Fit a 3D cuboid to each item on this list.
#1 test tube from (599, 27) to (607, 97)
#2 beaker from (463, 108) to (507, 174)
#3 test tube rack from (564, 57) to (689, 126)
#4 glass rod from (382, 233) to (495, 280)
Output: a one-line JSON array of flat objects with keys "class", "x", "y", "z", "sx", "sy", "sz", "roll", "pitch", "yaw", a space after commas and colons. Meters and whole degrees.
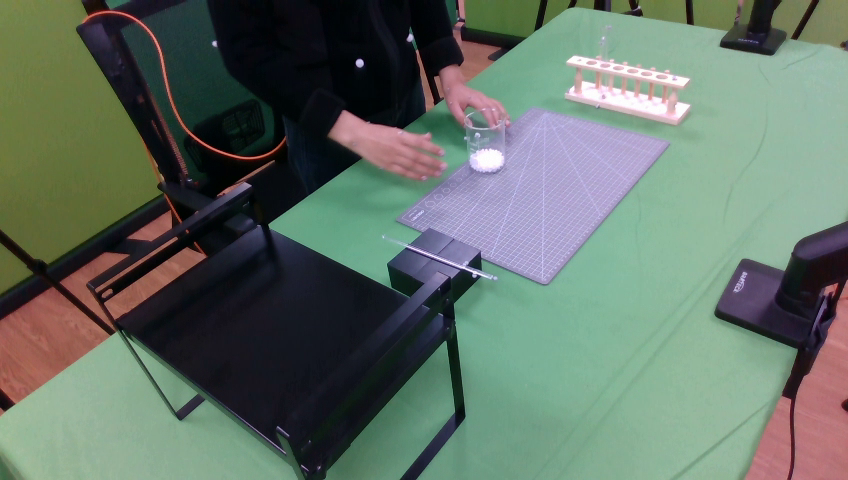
[{"class": "test tube", "x": 0.358, "y": -0.353, "z": 1.210, "sx": 0.017, "sy": 0.151, "sz": 0.017, "roll": -8, "pitch": 43, "yaw": 8}, {"class": "beaker", "x": 0.111, "y": -0.179, "z": 1.106, "sx": 0.083, "sy": 0.101, "sz": 0.074, "roll": 19, "pitch": 47, "yaw": 29}, {"class": "test tube rack", "x": 0.411, "y": -0.311, "z": 1.230, "sx": 0.240, "sy": 0.085, "sz": 0.067, "roll": 23, "pitch": 49, "yaw": 32}, {"class": "glass rod", "x": 0.017, "y": 0.023, "z": 0.882, "sx": 0.198, "sy": 0.008, "sz": 0.008, "roll": 21, "pitch": 48, "yaw": 29}]
